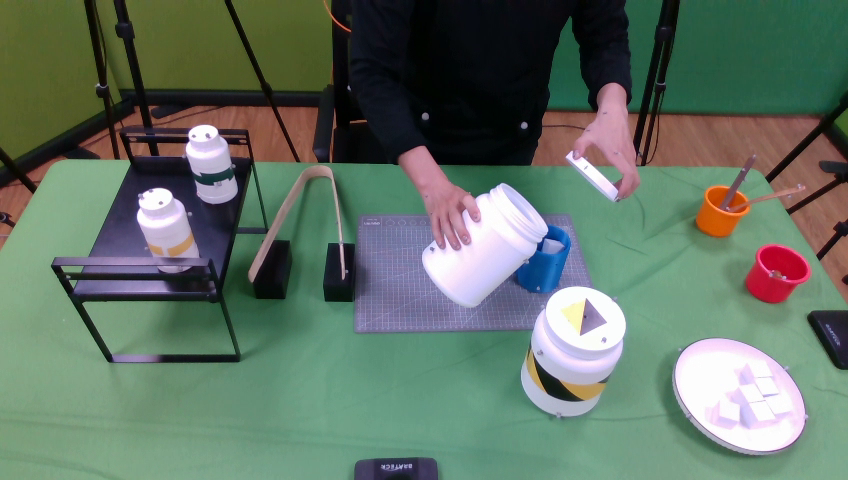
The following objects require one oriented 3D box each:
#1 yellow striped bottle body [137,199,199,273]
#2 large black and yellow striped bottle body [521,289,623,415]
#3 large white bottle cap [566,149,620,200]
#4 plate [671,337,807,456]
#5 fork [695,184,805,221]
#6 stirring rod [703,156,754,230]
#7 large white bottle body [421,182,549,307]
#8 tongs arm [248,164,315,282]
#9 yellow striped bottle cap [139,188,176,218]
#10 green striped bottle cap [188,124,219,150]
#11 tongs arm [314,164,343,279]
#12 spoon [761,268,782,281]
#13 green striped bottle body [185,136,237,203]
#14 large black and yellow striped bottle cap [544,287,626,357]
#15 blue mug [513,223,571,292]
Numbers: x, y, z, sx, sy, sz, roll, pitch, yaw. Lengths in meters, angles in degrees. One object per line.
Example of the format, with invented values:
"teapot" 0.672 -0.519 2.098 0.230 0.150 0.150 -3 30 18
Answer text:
"yellow striped bottle body" -0.366 -0.014 0.863 0.063 0.121 0.062 2 46 -2
"large black and yellow striped bottle body" 0.228 0.173 0.938 0.131 0.185 0.130 2 47 -2
"large white bottle cap" 0.291 -0.113 1.046 0.018 0.115 0.114 -47 54 12
"plate" 0.503 0.254 0.984 0.208 0.039 0.206 2 46 -2
"fork" 0.657 -0.075 1.230 0.207 0.019 0.028 -23 34 37
"stirring rod" 0.631 -0.097 1.258 0.014 0.006 0.176 33 95 29
"large white bottle body" 0.101 0.005 0.992 0.131 0.185 0.130 38 21 -18
"tongs arm" -0.270 -0.047 1.166 0.028 0.028 0.385 -1 34 7
"yellow striped bottle cap" -0.363 -0.051 0.826 0.044 0.019 0.044 0 48 0
"green striped bottle cap" -0.339 -0.158 0.931 0.044 0.020 0.044 4 46 -3
"tongs arm" -0.188 -0.049 1.170 0.051 0.026 0.382 -6 35 -6
"spoon" 0.638 0.060 1.105 0.041 0.021 0.194 38 11 24
"green striped bottle body" -0.341 -0.122 0.968 0.063 0.120 0.063 2 46 -2
"large black and yellow striped bottle cap" 0.232 0.116 0.876 0.115 0.019 0.114 2 46 -1
"blue mug" 0.203 0.032 1.121 0.116 0.106 0.082 5 46 1
